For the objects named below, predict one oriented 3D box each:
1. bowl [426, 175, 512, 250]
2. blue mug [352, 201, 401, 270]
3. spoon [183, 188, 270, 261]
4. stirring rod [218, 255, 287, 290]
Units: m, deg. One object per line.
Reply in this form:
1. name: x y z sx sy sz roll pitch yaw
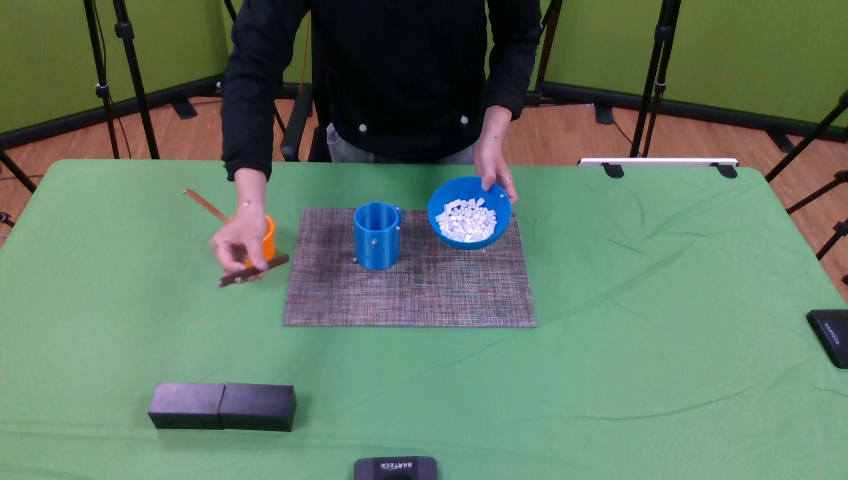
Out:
1. bowl: 0.081 -0.036 1.102 0.151 0.077 0.150 -3 56 4
2. blue mug: -0.082 -0.017 1.144 0.082 0.106 0.116 30 51 22
3. spoon: -0.360 -0.029 1.110 0.021 0.194 0.041 -21 31 41
4. stirring rod: -0.248 0.045 0.889 0.006 0.014 0.176 2 11 17
